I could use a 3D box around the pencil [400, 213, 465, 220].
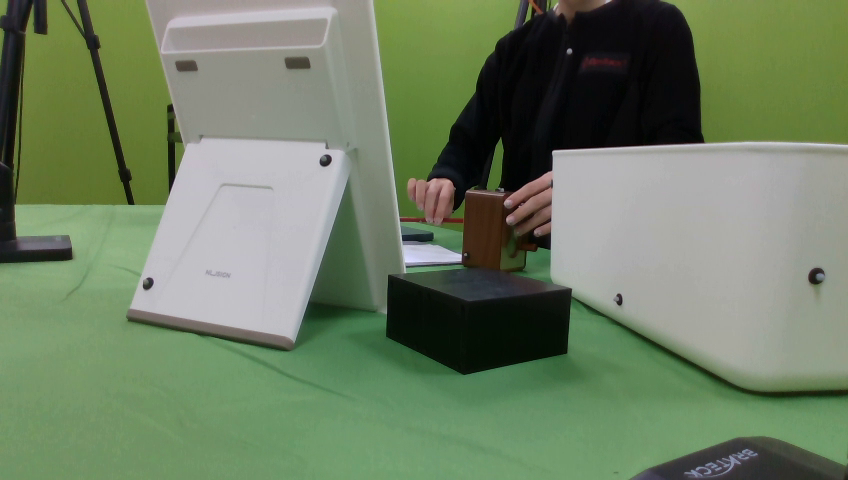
[{"bbox_3d":[0.008,-0.036,0.945,0.193,0.012,0.012,-1,5,29],"label":"pencil"}]

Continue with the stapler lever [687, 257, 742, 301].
[{"bbox_3d":[0.283,0.035,0.585,0.026,0.040,0.119,11,8,37],"label":"stapler lever"}]

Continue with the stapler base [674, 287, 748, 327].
[{"bbox_3d":[0.281,0.061,0.586,0.041,0.024,0.131,11,9,37],"label":"stapler base"}]

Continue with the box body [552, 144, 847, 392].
[{"bbox_3d":[0.290,0.002,0.549,0.255,0.160,0.363,2,7,-10],"label":"box body"}]

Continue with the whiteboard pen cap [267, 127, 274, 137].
[{"bbox_3d":[-0.340,-0.239,1.338,0.018,0.018,0.033,1,-1,-15],"label":"whiteboard pen cap"}]

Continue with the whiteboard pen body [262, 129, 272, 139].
[{"bbox_3d":[-0.361,-0.245,1.393,0.017,0.017,0.140,0,5,-20],"label":"whiteboard pen body"}]

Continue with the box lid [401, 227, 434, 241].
[{"bbox_3d":[-0.196,-0.015,1.105,0.373,0.015,0.262,-1,7,-32],"label":"box lid"}]

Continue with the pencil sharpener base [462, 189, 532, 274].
[{"bbox_3d":[0.099,-0.012,0.816,0.062,0.107,0.076,-4,10,-44],"label":"pencil sharpener base"}]

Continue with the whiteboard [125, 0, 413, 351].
[{"bbox_3d":[-0.151,-0.050,0.471,0.216,0.305,0.144,6,27,24],"label":"whiteboard"}]

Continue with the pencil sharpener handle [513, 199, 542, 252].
[{"bbox_3d":[0.137,-0.019,0.780,0.036,0.068,0.030,-16,18,-42],"label":"pencil sharpener handle"}]

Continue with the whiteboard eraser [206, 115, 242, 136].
[{"bbox_3d":[-0.438,-0.249,1.320,0.056,0.042,0.112,-3,9,-30],"label":"whiteboard eraser"}]
